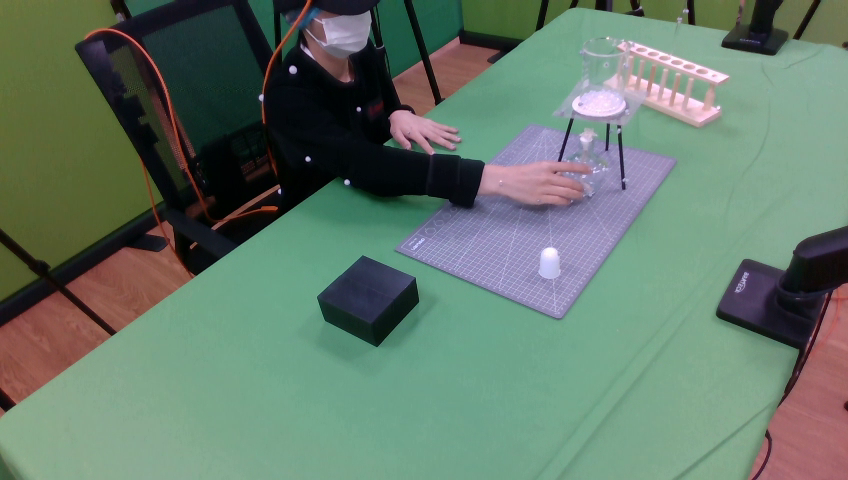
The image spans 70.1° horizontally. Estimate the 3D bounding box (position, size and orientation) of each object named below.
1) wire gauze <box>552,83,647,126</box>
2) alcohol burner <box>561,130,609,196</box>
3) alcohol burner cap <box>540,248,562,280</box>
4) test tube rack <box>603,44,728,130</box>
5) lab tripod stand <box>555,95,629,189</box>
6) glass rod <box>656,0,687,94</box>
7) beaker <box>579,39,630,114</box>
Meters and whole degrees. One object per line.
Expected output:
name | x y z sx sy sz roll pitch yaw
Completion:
wire gauze | 0.293 -0.224 1.004 0.120 0.011 0.125 19 43 26
alcohol burner | 0.272 -0.133 1.016 0.078 0.119 0.077 -3 41 3
alcohol burner cap | 0.187 0.032 0.888 0.034 0.048 0.033 -4 40 4
test tube rack | 0.480 -0.316 1.227 0.067 0.085 0.240 -28 44 -22
lab tripod stand | 0.300 -0.174 1.045 0.148 0.132 0.147 -5 38 5
glass rod | 0.491 -0.381 1.199 0.008 0.200 0.008 1 41 0
beaker | 0.289 -0.263 0.975 0.073 0.101 0.084 17 45 27
